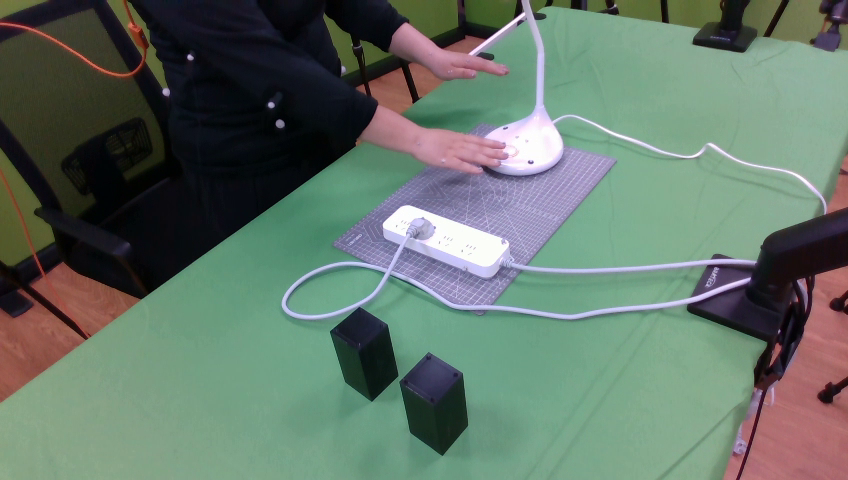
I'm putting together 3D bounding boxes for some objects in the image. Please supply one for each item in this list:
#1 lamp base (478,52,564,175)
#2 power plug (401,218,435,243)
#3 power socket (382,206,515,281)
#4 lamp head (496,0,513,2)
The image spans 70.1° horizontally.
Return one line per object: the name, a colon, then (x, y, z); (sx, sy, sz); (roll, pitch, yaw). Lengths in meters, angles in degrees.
lamp base: (0.181, -0.236, 1.095); (0.159, 0.181, 0.179); (20, 44, 29)
power plug: (-0.014, -0.006, 0.937); (0.073, 0.053, 0.035); (-37, 47, -27)
power socket: (0.032, 0.002, 0.950); (0.225, 0.033, 0.072); (21, 49, 29)
lamp head: (0.120, -0.420, 0.861); (0.111, 0.113, 0.123); (24, 72, 32)
